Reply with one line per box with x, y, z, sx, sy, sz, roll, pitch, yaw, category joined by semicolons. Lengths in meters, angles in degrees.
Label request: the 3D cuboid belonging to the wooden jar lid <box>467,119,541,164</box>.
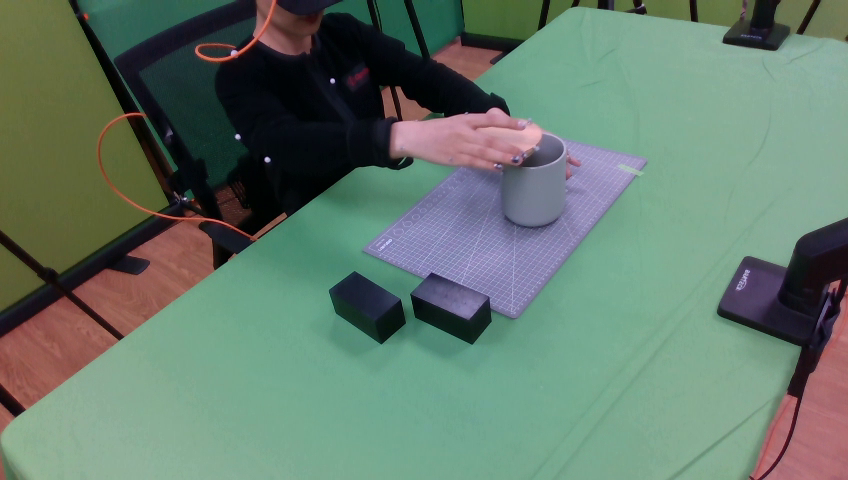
0.117;-0.143;0.886;0.108;0.021;0.108;-5;39;4;wooden jar lid

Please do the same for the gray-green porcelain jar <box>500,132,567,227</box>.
0.177;-0.093;0.974;0.106;0.127;0.105;-5;40;5;gray-green porcelain jar
